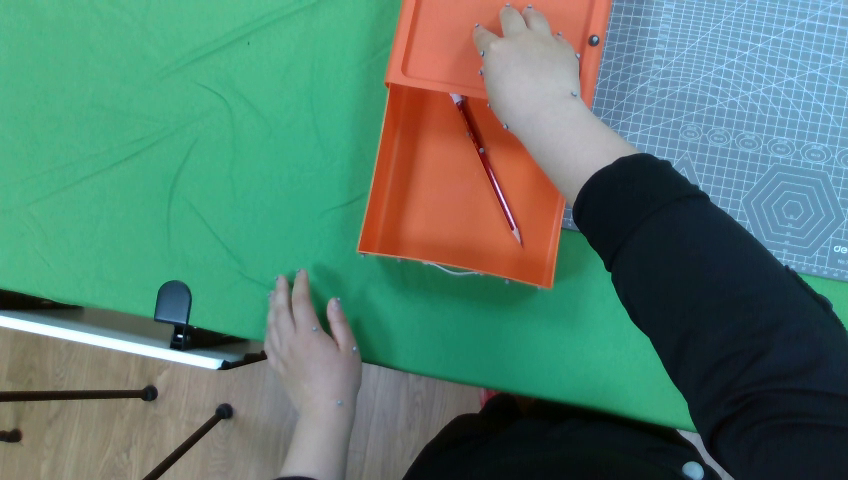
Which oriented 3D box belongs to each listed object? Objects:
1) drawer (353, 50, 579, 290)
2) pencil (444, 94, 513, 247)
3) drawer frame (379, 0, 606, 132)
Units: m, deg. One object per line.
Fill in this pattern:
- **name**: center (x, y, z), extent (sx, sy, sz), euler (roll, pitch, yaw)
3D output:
- **drawer**: center (0.046, -0.068, 0.610), extent (0.194, 0.073, 0.211), euler (10, 91, 9)
- **pencil**: center (0.057, -0.082, 0.635), extent (0.012, 0.012, 0.193), euler (-22, 86, 6)
- **drawer frame**: center (0.076, -0.229, 0.611), extent (0.201, 0.083, 0.213), euler (11, 88, 9)
